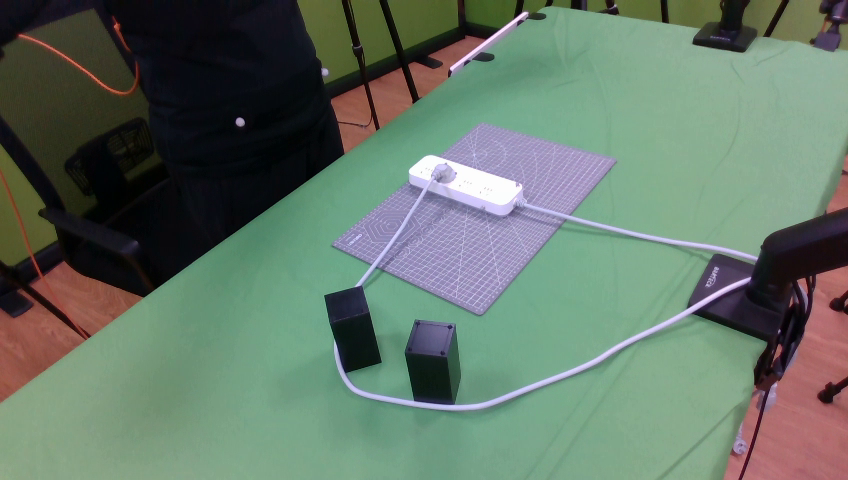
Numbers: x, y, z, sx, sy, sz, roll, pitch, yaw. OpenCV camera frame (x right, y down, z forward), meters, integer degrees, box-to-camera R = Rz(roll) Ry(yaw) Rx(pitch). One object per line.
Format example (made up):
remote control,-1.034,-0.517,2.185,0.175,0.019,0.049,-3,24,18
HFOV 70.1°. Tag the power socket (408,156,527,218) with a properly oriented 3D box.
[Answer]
power socket,0.070,-0.095,1.059,0.225,0.033,0.072,22,49,30

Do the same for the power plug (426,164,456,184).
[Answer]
power plug,0.024,-0.103,1.047,0.073,0.053,0.035,-36,47,-26
